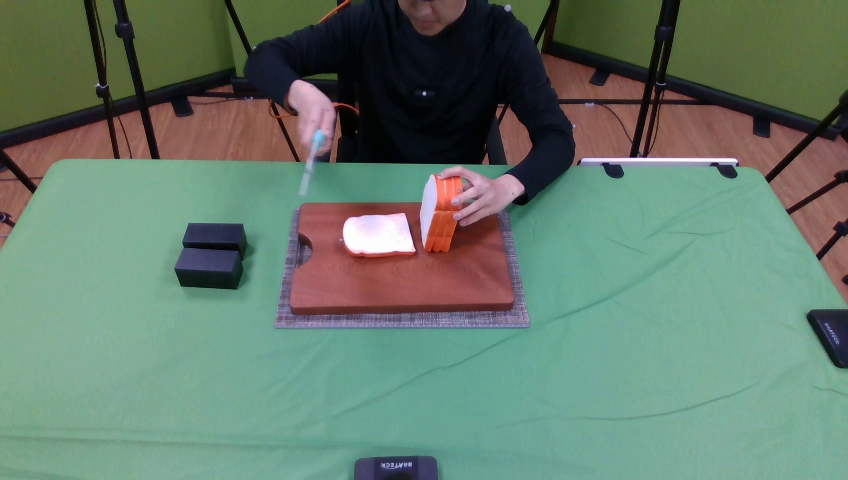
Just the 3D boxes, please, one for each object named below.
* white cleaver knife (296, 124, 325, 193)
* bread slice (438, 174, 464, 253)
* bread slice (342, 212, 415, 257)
[{"bbox_3d":[-0.198,-0.145,1.038,0.021,0.066,0.285,17,21,-10],"label":"white cleaver knife"},{"bbox_3d":[0.051,-0.056,1.138,0.018,0.135,0.106,3,47,-11],"label":"bread slice"},{"bbox_3d":[-0.090,-0.009,1.154,0.132,0.019,0.104,-4,48,-13],"label":"bread slice"}]
